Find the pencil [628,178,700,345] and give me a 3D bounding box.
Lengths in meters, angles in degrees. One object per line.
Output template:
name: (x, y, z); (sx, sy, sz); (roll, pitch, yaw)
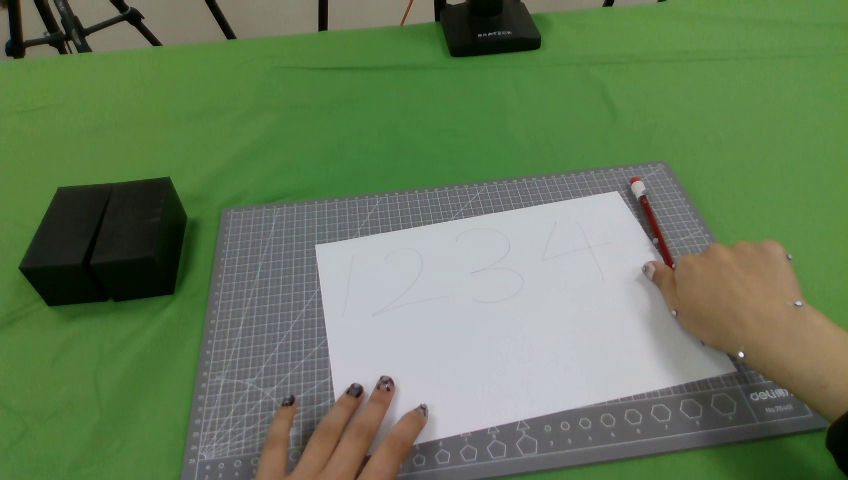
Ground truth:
pencil: (0.209, 0.011, 0.532); (0.012, 0.012, 0.192); (-2, 47, 0)
